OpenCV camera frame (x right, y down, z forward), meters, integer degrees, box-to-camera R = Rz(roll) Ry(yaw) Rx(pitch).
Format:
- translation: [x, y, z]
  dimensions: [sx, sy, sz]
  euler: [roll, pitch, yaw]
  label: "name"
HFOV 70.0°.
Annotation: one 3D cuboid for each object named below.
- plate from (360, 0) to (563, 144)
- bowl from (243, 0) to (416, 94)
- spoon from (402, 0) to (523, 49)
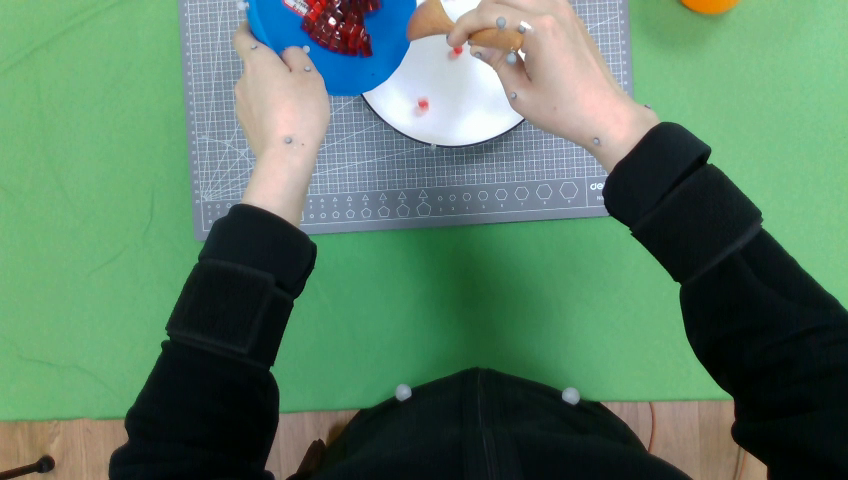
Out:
- translation: [0.029, -0.196, 0.590]
  dimensions: [0.209, 0.038, 0.209]
  euler: [0, 91, 3]
  label: "plate"
- translation: [-0.089, -0.200, 0.502]
  dimensions: [0.152, 0.076, 0.152]
  euler: [-14, 113, -37]
  label: "bowl"
- translation: [0.024, -0.155, 0.436]
  dimensions: [0.022, 0.191, 0.041]
  euler: [31, 98, -34]
  label: "spoon"
